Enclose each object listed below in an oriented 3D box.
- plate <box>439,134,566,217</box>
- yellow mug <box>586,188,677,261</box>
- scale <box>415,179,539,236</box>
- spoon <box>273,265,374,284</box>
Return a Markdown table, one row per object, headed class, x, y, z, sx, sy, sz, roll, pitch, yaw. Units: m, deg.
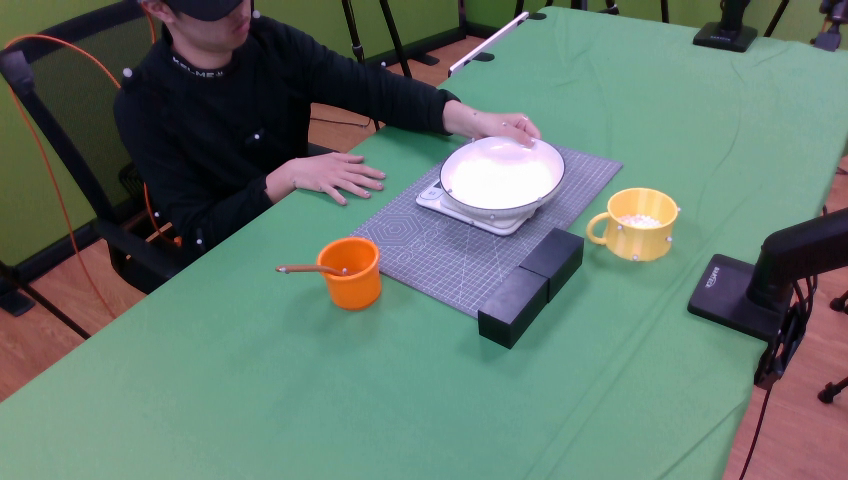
| class | x | y | z | sx | sy | sz | roll | pitch | yaw |
| --- | --- | --- | --- | --- | --- | --- | --- | --- | --- |
| plate | 0.130 | -0.104 | 1.003 | 0.209 | 0.038 | 0.208 | -7 | 42 | 6 |
| yellow mug | 0.311 | -0.022 | 0.916 | 0.131 | 0.064 | 0.099 | -8 | 40 | 0 |
| scale | 0.099 | -0.079 | 1.035 | 0.199 | 0.032 | 0.149 | 23 | 48 | 31 |
| spoon | -0.136 | 0.045 | 0.839 | 0.041 | 0.195 | 0.021 | 18 | 91 | 33 |
